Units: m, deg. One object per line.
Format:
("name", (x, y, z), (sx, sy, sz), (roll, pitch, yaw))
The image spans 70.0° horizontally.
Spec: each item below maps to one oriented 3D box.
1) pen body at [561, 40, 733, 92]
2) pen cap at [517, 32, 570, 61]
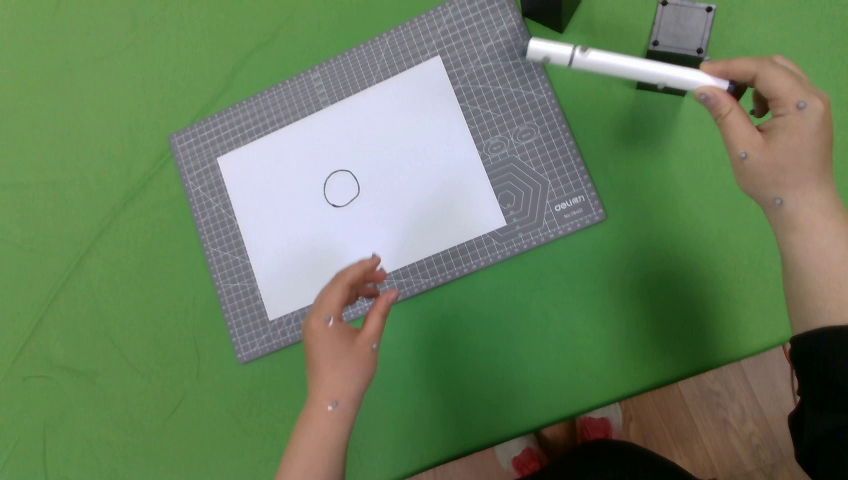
("pen body", (0.150, -0.130, 0.444), (0.144, 0.017, 0.017), (13, 88, 5))
("pen cap", (0.089, -0.146, 0.452), (0.038, 0.017, 0.017), (13, 88, 6))
